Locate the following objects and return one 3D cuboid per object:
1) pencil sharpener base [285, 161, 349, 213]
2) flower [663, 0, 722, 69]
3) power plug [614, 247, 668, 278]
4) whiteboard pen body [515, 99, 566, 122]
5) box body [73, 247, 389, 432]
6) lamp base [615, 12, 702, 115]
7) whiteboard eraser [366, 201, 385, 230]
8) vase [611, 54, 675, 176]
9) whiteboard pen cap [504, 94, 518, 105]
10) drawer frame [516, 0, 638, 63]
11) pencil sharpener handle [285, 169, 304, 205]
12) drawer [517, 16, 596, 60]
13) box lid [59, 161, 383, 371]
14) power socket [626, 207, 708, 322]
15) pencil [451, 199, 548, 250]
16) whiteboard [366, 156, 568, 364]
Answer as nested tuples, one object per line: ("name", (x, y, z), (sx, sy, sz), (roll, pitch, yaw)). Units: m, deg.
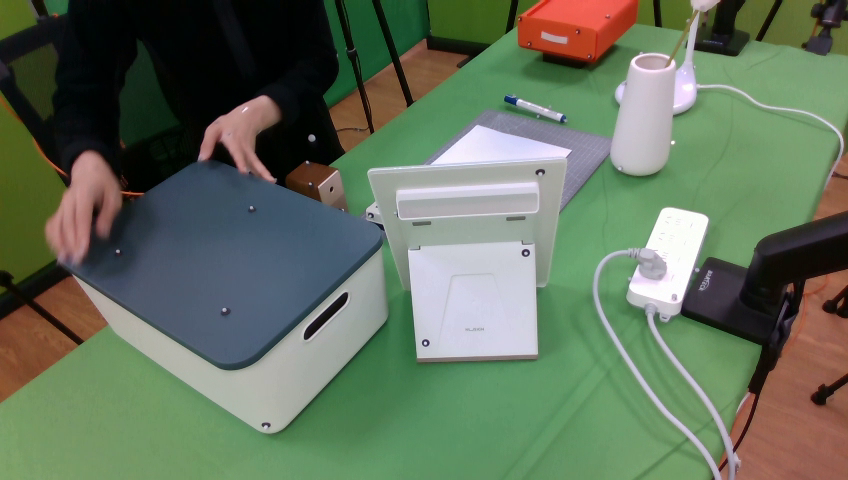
("pencil sharpener base", (-0.180, -0.071, 1.019), (0.076, 0.107, 0.061), (16, 46, 26))
("flower", (0.379, -0.261, 0.965), (0.044, 0.362, 0.038), (20, 53, 5))
("power plug", (0.306, 0.031, 0.851), (0.072, 0.053, 0.035), (24, 49, 33))
("whiteboard pen body", (0.233, -0.274, 1.262), (0.139, 0.017, 0.017), (28, 51, 29))
("box body", (-0.255, 0.065, 0.827), (0.361, 0.161, 0.255), (21, 48, 29))
("lamp base", (0.484, -0.363, 1.211), (0.180, 0.181, 0.159), (-15, 41, -14))
("whiteboard eraser", (-0.037, -0.038, 1.006), (0.112, 0.042, 0.055), (16, 48, 25))
("vase", (0.377, -0.209, 1.031), (0.098, 0.201, 0.097), (-3, 40, 3))
("whiteboard pen cap", (0.190, -0.299, 1.292), (0.033, 0.018, 0.018), (30, 52, 28))
("drawer frame", (0.355, -0.508, 1.411), (0.200, 0.083, 0.214), (23, 51, 32))
("pencil sharpener handle", (-0.227, -0.091, 1.031), (0.030, 0.068, 0.036), (17, 36, 26))
("drawer", (0.353, -0.506, 1.405), (0.193, 0.073, 0.212), (23, 49, 32))
("box lid", (-0.262, 0.010, 0.777), (0.369, 0.015, 0.264), (21, 48, 29))
("power socket", (0.359, 0.025, 0.886), (0.072, 0.033, 0.227), (16, 46, 26))
("pencil", (0.125, -0.025, 0.994), (0.195, 0.012, 0.012), (-26, 44, -19))
("whiteboard", (0.059, 0.050, 0.738), (0.217, 0.307, 0.143), (-2, 60, 6))
